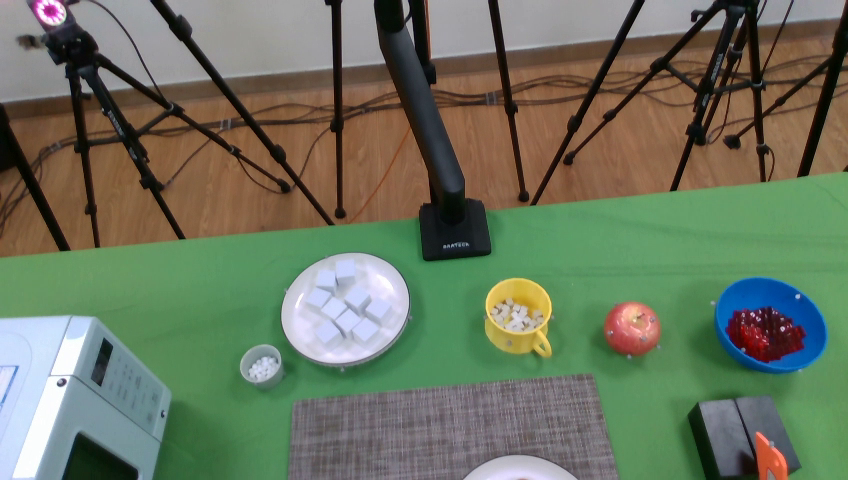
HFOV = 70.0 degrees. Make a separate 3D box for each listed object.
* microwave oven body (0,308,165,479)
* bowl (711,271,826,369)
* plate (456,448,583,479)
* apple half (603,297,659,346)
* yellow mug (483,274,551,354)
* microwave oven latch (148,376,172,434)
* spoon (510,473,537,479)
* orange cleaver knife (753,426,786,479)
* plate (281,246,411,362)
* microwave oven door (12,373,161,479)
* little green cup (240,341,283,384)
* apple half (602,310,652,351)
[{"bbox_3d":[-0.541,0.333,0.703,0.326,0.262,0.437,-2,55,2],"label":"microwave oven body"},{"bbox_3d":[0.492,0.129,0.890,0.151,0.077,0.150,-2,55,3],"label":"bowl"},{"bbox_3d":[0.123,0.372,0.766,0.209,0.038,0.207,-2,55,3],"label":"plate"},{"bbox_3d":[0.317,0.119,0.914,0.080,0.075,0.053,29,59,26],"label":"apple half"},{"bbox_3d":[0.151,0.121,0.928,0.100,0.064,0.129,-29,59,-16],"label":"yellow mug"},{"bbox_3d":[-0.389,0.239,0.878,0.030,0.030,0.078,-2,55,2],"label":"microwave oven latch"},{"bbox_3d":[0.188,0.356,0.755,0.192,0.022,0.041,26,54,34],"label":"spoon"},{"bbox_3d":[0.433,0.338,0.739,0.012,0.077,0.211,-9,87,3],"label":"orange cleaver knife"},{"bbox_3d":[-0.123,0.104,0.977,0.207,0.039,0.205,-2,55,3],"label":"plate"},{"bbox_3d":[-0.395,0.358,0.669,0.039,0.246,0.352,-3,55,3],"label":"microwave oven door"},{"bbox_3d":[-0.245,0.189,0.924,0.061,0.039,0.061,-2,57,3],"label":"little green cup"},{"bbox_3d":[0.293,0.144,0.896,0.080,0.082,0.032,31,60,23],"label":"apple half"}]
